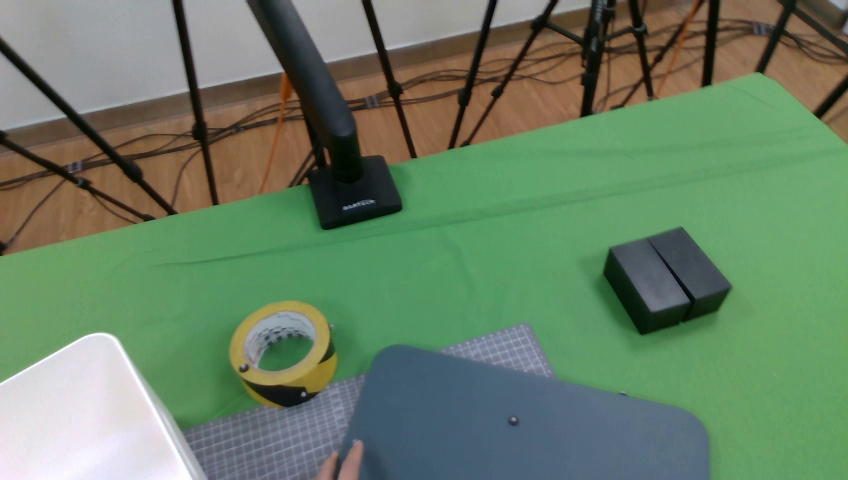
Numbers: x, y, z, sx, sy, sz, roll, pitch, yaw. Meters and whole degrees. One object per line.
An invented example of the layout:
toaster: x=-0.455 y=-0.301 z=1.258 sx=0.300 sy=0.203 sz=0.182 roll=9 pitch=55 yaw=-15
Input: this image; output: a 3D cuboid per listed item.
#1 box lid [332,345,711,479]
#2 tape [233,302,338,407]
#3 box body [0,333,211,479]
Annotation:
box lid: x=0.095 y=0.253 z=0.600 sx=0.370 sy=0.015 sz=0.261 roll=11 pitch=54 yaw=10
tape: x=-0.157 y=0.130 z=0.694 sx=0.117 sy=0.053 sz=0.115 roll=-1 pitch=48 yaw=2
box body: x=-0.353 y=0.289 z=0.498 sx=0.364 sy=0.162 sz=0.251 roll=-32 pitch=56 yaw=-21
